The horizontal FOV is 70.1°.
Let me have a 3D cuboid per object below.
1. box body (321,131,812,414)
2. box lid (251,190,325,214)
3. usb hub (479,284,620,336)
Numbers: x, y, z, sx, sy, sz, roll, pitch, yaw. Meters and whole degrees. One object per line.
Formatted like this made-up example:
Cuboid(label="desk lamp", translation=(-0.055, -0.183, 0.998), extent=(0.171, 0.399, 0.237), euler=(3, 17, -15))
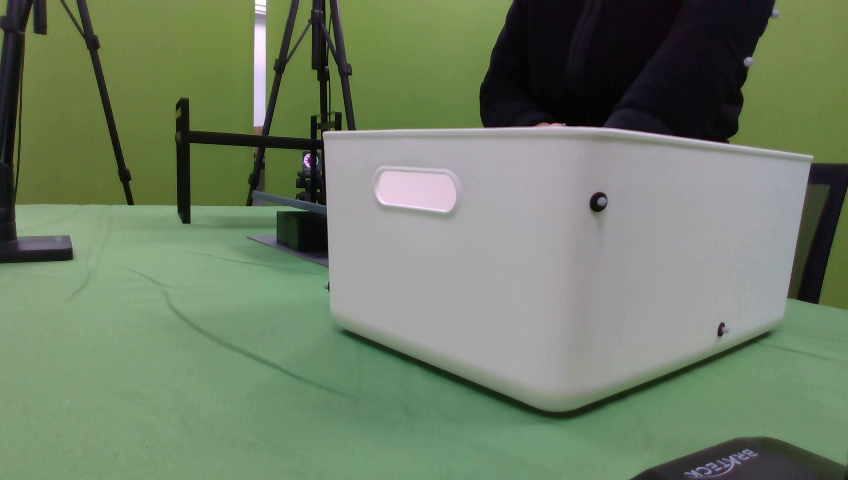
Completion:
Cuboid(label="box body", translation=(0.124, -0.001, 0.509), extent=(0.366, 0.160, 0.253), euler=(-4, 10, -41))
Cuboid(label="box lid", translation=(-0.066, -0.028, 0.971), extent=(0.374, 0.015, 0.262), euler=(11, 2, -34))
Cuboid(label="usb hub", translation=(0.110, 0.058, 0.523), extent=(0.126, 0.025, 0.049), euler=(-3, 7, -34))
